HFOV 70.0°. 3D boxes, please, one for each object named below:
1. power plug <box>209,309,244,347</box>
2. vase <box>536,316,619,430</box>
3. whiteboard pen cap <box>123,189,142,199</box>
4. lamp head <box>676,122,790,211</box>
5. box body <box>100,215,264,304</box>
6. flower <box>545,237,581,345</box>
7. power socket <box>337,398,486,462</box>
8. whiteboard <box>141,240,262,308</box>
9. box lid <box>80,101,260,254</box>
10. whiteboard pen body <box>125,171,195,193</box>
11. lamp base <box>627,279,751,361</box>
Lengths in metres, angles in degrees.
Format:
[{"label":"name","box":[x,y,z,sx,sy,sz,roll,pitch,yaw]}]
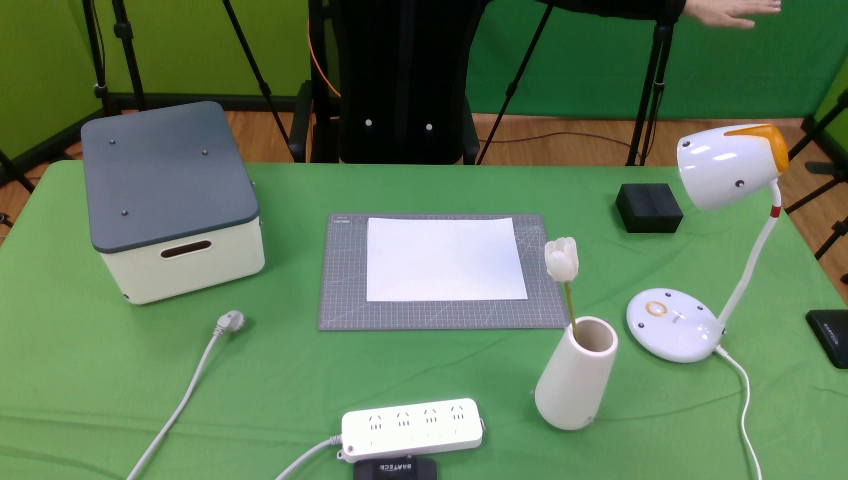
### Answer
[{"label":"power plug","box":[-0.334,0.148,1.019,0.035,0.053,0.072,36,75,23]},{"label":"vase","box":[0.229,0.200,0.901,0.098,0.201,0.097,3,46,-3]},{"label":"whiteboard pen cap","box":[-0.591,-0.093,1.231,0.033,0.018,0.018,-13,49,-18]},{"label":"lamp head","box":[0.423,-0.104,0.819,0.122,0.113,0.112,-13,33,40]},{"label":"box body","box":[-0.465,-0.077,1.137,0.254,0.161,0.361,-16,50,-19]},{"label":"flower","box":[0.213,0.137,0.846,0.038,0.364,0.044,22,55,40]},{"label":"power socket","box":[-0.017,0.286,0.914,0.227,0.033,0.071,-4,46,-8]},{"label":"whiteboard","box":[-0.464,-0.059,1.137,0.217,0.144,0.303,-19,51,-17]},{"label":"box lid","box":[-0.461,-0.127,1.082,0.264,0.015,0.369,-15,49,-19]},{"label":"whiteboard pen body","box":[-0.553,-0.119,1.270,0.141,0.017,0.017,-18,50,-15]},{"label":"lamp base","box":[0.460,0.100,1.027,0.178,0.181,0.160,27,51,17]}]
